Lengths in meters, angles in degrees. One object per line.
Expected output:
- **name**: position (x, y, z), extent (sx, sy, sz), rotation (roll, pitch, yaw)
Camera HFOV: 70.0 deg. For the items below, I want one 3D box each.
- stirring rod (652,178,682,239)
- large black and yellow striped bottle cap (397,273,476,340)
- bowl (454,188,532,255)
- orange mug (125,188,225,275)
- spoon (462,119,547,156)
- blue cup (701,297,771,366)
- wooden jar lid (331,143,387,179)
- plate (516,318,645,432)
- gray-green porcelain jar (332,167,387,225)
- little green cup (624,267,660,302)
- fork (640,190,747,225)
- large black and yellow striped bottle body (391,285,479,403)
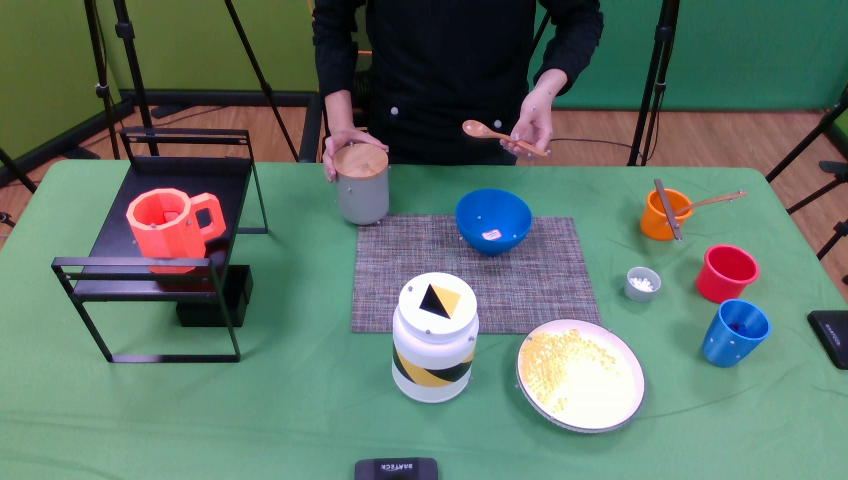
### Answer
- **stirring rod**: position (0.481, -0.065, 1.204), extent (0.014, 0.006, 0.175), rotation (2, 46, -1)
- **large black and yellow striped bottle cap**: position (0.018, 0.094, 0.878), extent (0.115, 0.019, 0.114), rotation (3, 46, -3)
- **bowl**: position (0.131, -0.025, 1.187), extent (0.151, 0.077, 0.150), rotation (3, 46, -2)
- **orange mug**: position (-0.357, -0.019, 0.884), extent (0.126, 0.101, 0.083), rotation (-29, 54, -23)
- **spoon**: position (0.137, -0.178, 1.056), extent (0.041, 0.022, 0.192), rotation (-32, 39, -27)
- **blue cup**: position (0.519, 0.162, 1.025), extent (0.093, 0.101, 0.092), rotation (3, 45, -3)
- **wooden jar lid**: position (-0.125, -0.149, 1.169), extent (0.108, 0.021, 0.107), rotation (1, 44, -1)
- **plate**: position (0.253, 0.221, 0.992), extent (0.209, 0.038, 0.208), rotation (2, 46, -2)
- **gray-green porcelain jar**: position (-0.126, -0.102, 1.210), extent (0.106, 0.127, 0.105), rotation (1, 43, 0)
- **little green cup**: position (0.406, 0.084, 1.135), extent (0.061, 0.039, 0.061), rotation (3, 45, -3)
- **fork**: position (0.533, -0.065, 1.211), extent (0.207, 0.019, 0.028), rotation (-22, 28, 38)
- **large black and yellow striped bottle body**: position (0.015, 0.153, 0.938), extent (0.131, 0.185, 0.130), rotation (2, 46, -2)
